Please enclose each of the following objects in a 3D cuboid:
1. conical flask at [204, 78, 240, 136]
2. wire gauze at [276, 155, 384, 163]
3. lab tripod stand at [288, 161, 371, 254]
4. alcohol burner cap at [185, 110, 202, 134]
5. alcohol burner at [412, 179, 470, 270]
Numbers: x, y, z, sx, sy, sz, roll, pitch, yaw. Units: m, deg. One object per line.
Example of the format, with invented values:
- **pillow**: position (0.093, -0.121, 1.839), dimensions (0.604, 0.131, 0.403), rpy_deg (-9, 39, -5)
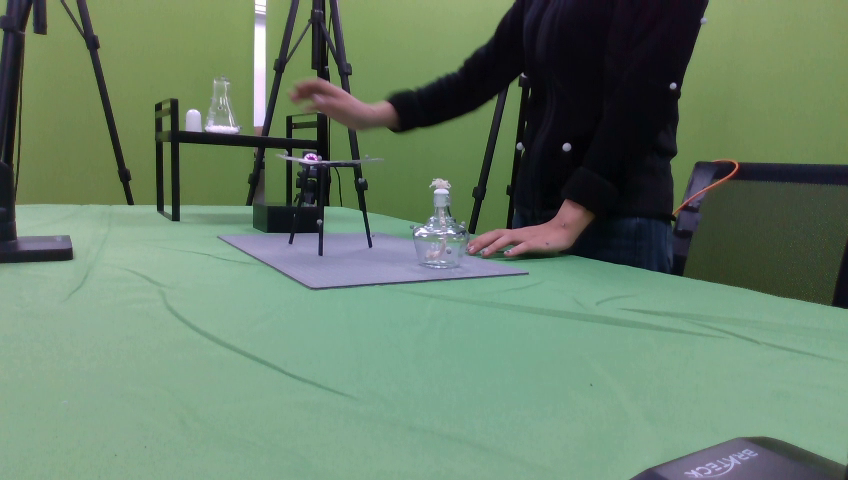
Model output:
- **conical flask**: position (-0.443, -0.292, 1.327), dimensions (0.075, 0.122, 0.075), rpy_deg (3, 7, 0)
- **wire gauze**: position (-0.142, -0.118, 0.900), dimensions (0.122, 0.011, 0.124), rpy_deg (-3, 8, -37)
- **lab tripod stand**: position (-0.148, -0.052, 0.909), dimensions (0.148, 0.131, 0.148), rpy_deg (1, 8, 0)
- **alcohol burner cap**: position (-0.470, -0.241, 1.234), dimensions (0.034, 0.048, 0.034), rpy_deg (3, 7, 0)
- **alcohol burner**: position (0.022, -0.021, 0.805), dimensions (0.078, 0.119, 0.078), rpy_deg (0, 8, 0)
